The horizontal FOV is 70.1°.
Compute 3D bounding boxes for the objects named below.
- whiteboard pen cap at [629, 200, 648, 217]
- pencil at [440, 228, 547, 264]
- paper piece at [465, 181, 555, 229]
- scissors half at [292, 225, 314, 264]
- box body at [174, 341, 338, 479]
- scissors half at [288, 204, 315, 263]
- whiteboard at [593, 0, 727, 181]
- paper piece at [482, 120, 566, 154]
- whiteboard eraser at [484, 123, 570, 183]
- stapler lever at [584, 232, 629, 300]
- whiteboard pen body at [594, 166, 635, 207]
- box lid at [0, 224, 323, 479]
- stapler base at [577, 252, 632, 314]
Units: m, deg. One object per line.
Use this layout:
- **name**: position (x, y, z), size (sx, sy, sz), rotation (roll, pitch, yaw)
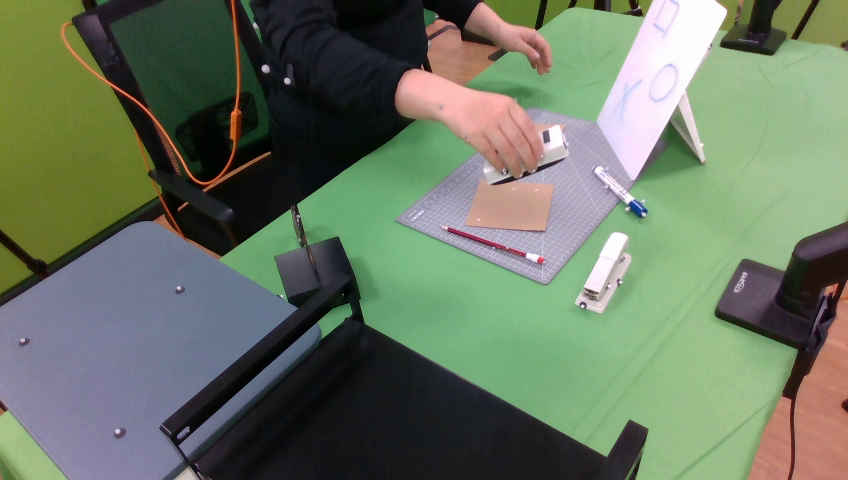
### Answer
- **whiteboard pen cap**: position (0.348, -0.052, 0.983), size (0.018, 0.018, 0.033), rotation (-18, 42, -12)
- **pencil**: position (0.105, 0.006, 0.957), size (0.192, 0.012, 0.012), rotation (18, 46, 30)
- **paper piece**: position (0.149, -0.062, 1.034), size (0.137, 0.009, 0.136), rotation (4, 37, 17)
- **scissors half**: position (-0.188, 0.007, 0.954), size (0.013, 0.040, 0.174), rotation (-21, 22, -12)
- **box body**: position (-0.311, 0.165, 0.719), size (0.361, 0.161, 0.255), rotation (23, 49, 32)
- **scissors half**: position (-0.191, -0.010, 0.944), size (0.013, 0.040, 0.173), rotation (-16, 37, -16)
- **whiteboard**: position (0.453, -0.272, 1.056), size (0.144, 0.305, 0.216), rotation (9, 38, -12)
- **paper piece**: position (0.197, -0.199, 1.188), size (0.135, 0.004, 0.135), rotation (10, 43, 21)
- **whiteboard eraser**: position (0.136, -0.112, 0.806), size (0.112, 0.042, 0.055), rotation (-19, 32, 19)
- **stapler lever**: position (0.260, 0.034, 0.858), size (0.026, 0.040, 0.118), rotation (16, 46, 30)
- **whiteboard pen body**: position (0.330, -0.085, 1.027), size (0.017, 0.017, 0.139), rotation (-16, 42, -10)
- **box lid**: position (-0.318, 0.109, 0.671), size (0.368, 0.015, 0.264), rotation (24, 49, 32)
- **stapler base**: position (0.264, 0.051, 0.875), size (0.041, 0.024, 0.131), rotation (16, 47, 29)
